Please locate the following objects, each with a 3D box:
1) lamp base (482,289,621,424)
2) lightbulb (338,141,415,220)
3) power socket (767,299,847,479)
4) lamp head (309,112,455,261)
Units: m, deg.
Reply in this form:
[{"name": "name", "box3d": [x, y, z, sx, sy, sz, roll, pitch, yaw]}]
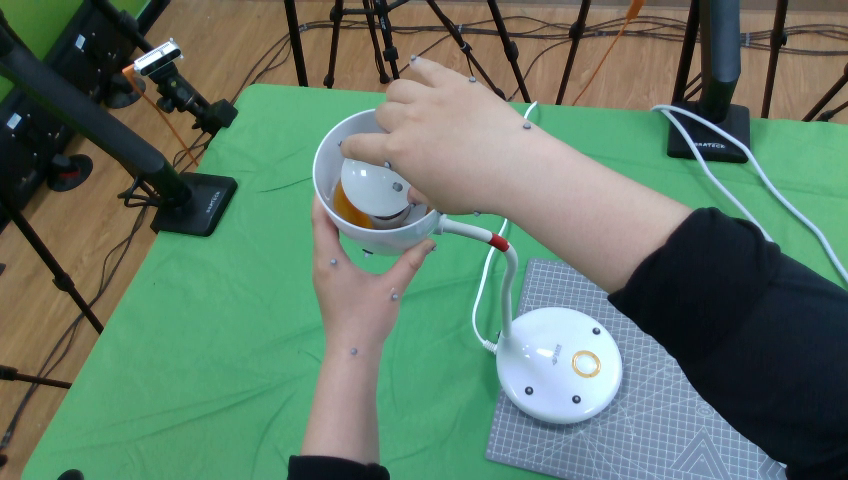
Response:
[{"name": "lamp base", "box3d": [0.148, 0.118, 0.732, 0.178, 0.182, 0.159, 2, 57, 16]}, {"name": "lightbulb", "box3d": [-0.035, -0.039, 0.490, 0.059, 0.108, 0.059, -1, 74, 3]}, {"name": "power socket", "box3d": [0.458, 0.170, 0.727, 0.072, 0.033, 0.225, 7, 58, 14]}, {"name": "lamp head", "box3d": [-0.029, -0.031, 0.521, 0.112, 0.124, 0.111, -2, 65, 6]}]
